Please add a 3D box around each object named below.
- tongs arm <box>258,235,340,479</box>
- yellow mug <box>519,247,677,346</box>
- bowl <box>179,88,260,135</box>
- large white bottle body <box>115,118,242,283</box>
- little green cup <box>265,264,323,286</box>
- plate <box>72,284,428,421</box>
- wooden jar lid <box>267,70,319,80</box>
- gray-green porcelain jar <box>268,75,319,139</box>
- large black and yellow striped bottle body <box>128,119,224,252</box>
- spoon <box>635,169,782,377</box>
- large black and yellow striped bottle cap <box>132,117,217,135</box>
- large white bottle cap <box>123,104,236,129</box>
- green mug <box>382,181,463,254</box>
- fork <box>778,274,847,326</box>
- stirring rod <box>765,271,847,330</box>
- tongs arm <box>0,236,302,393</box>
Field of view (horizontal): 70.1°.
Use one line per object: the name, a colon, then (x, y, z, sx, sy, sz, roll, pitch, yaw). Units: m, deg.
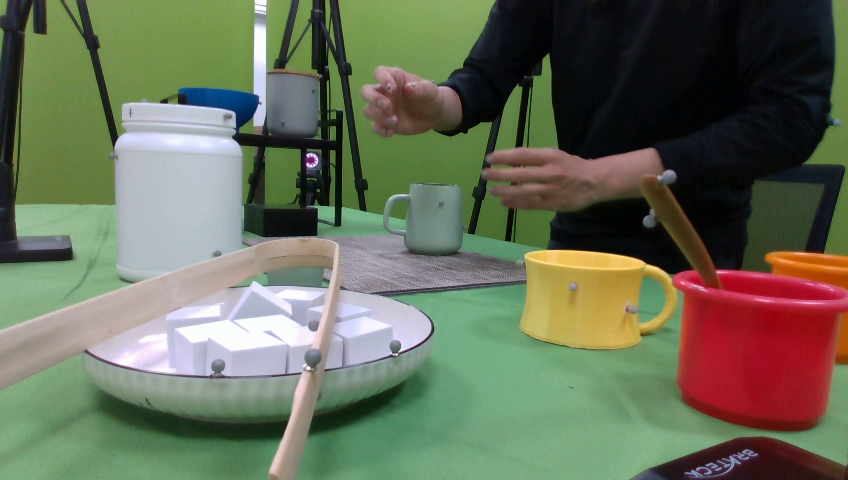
tongs arm: (-0.074, 0.040, 0.345, 0.051, 0.026, 0.384, -1, 10, -3)
yellow mug: (0.148, 0.045, 0.513, 0.131, 0.064, 0.100, 3, 7, 0)
bowl: (-0.400, -0.248, 1.188, 0.151, 0.077, 0.151, 3, 6, 0)
large white bottle body: (-0.270, -0.051, 0.673, 0.131, 0.184, 0.130, 2, 8, 0)
little green cup: (-0.134, 0.033, 0.628, 0.061, 0.038, 0.061, 3, 7, 0)
plate: (-0.102, 0.067, 0.381, 0.208, 0.039, 0.207, 3, 7, 0)
wooden jar lid: (-0.275, -0.339, 1.271, 0.108, 0.020, 0.108, 5, 6, 0)
gray-green porcelain jar: (-0.277, -0.279, 1.280, 0.106, 0.126, 0.106, 2, 8, 0)
large black and yellow striped bottle body: (-0.361, -0.081, 0.887, 0.131, 0.184, 0.130, 2, 8, 0)
spoon: (0.161, 0.026, 0.346, 0.021, 0.194, 0.041, -51, 32, -19)
large black and yellow striped bottle cap: (-0.359, -0.164, 0.875, 0.115, 0.019, 0.115, 2, 6, 0)
large white bottle cap: (-0.266, -0.134, 0.663, 0.115, 0.018, 0.115, 3, 7, 0)
green mug: (-0.001, -0.036, 0.922, 0.126, 0.105, 0.092, 0, 8, -16)
fork: (0.332, 0.019, 0.443, 0.028, 0.018, 0.207, -3, -35, -16)
stirring rod: (0.352, 0.020, 0.481, 0.176, 0.006, 0.014, -40, -8, 17)
tongs arm: (-0.157, 0.038, 0.347, 0.028, 0.028, 0.388, -3, 8, 11)
